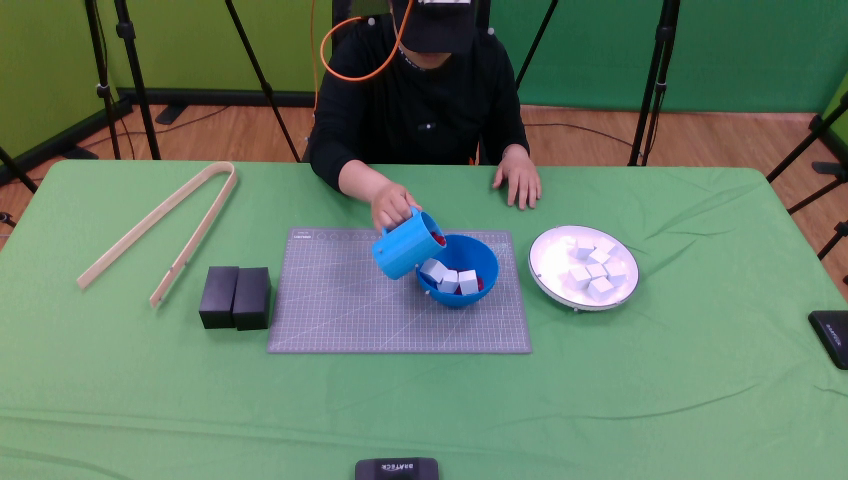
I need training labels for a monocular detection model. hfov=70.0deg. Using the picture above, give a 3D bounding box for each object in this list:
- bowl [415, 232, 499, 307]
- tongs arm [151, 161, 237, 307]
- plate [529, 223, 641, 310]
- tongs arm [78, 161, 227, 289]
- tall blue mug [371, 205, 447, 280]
[{"bbox_3d":[0.057,0.067,1.093,0.151,0.077,0.150,2,46,-2],"label":"bowl"},{"bbox_3d":[-0.447,-0.026,1.180,0.051,0.027,0.383,8,46,10],"label":"tongs arm"},{"bbox_3d":[0.303,0.053,1.156,0.209,0.038,0.208,2,46,-1],"label":"plate"},{"bbox_3d":[-0.524,-0.043,1.196,0.028,0.028,0.386,15,47,22],"label":"tongs arm"},{"bbox_3d":[-0.034,-0.005,1.041,0.108,0.078,0.107,-34,82,18],"label":"tall blue mug"}]
